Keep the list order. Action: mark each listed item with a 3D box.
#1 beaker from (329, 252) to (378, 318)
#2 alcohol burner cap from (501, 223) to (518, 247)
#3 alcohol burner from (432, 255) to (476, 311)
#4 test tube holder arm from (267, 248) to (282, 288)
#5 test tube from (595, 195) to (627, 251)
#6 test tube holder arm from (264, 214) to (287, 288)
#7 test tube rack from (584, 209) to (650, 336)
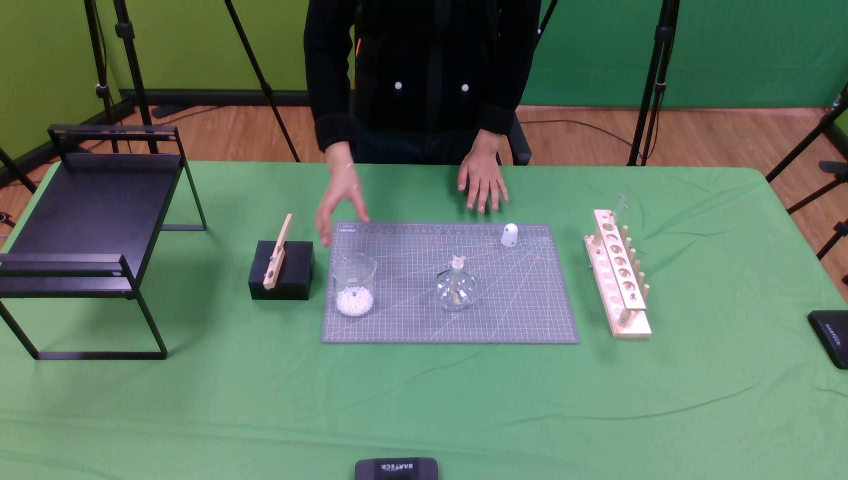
[{"bbox_3d":[-0.121,0.080,1.055,0.084,0.101,0.073,-16,50,-19],"label":"beaker"},{"bbox_3d":[0.172,-0.013,1.207,0.034,0.048,0.033,1,45,-1],"label":"alcohol burner cap"},{"bbox_3d":[0.055,0.070,1.068,0.078,0.119,0.077,3,45,-3],"label":"alcohol burner"},{"bbox_3d":[-0.262,0.048,1.068,0.010,0.015,0.087,3,45,-3],"label":"test tube holder arm"},{"bbox_3d":[0.350,-0.029,1.140,0.017,0.151,0.017,3,50,-3],"label":"test tube"},{"bbox_3d":[-0.268,0.016,1.099,0.013,0.015,0.177,2,45,-4],"label":"test tube holder arm"},{"bbox_3d":[0.365,0.056,1.129,0.067,0.085,0.240,1,46,-3],"label":"test tube rack"}]
